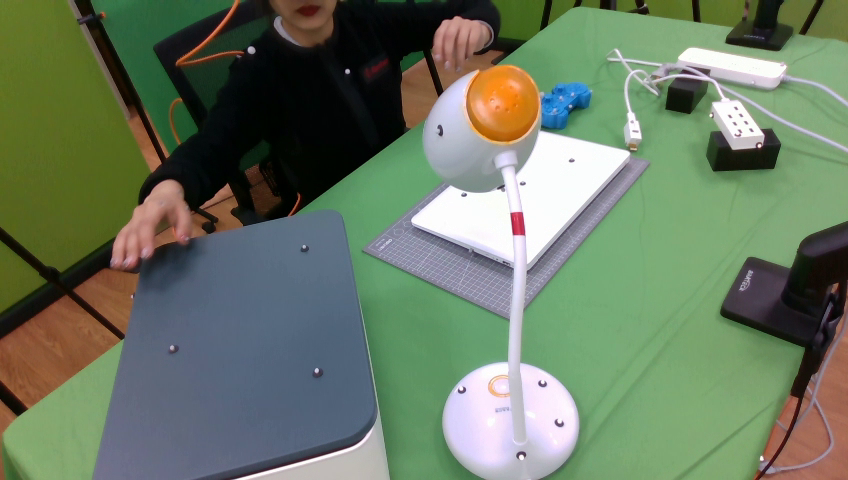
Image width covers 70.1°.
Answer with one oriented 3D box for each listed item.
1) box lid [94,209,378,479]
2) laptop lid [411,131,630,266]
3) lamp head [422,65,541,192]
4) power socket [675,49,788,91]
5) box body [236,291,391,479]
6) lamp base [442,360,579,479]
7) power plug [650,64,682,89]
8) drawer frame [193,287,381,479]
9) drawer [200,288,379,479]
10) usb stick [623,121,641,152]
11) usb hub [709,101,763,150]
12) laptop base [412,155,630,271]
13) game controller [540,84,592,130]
[{"bbox_3d":[-0.202,0.094,0.680,0.264,0.015,0.368,-13,39,-5],"label":"box lid"},{"bbox_3d":[0.172,-0.094,1.050,0.239,0.013,0.358,23,49,36],"label":"laptop lid"},{"bbox_3d":[0.060,-0.106,0.560,0.113,0.112,0.122,-16,1,-8],"label":"lamp head"},{"bbox_3d":[0.646,-0.363,1.284,0.225,0.033,0.072,26,52,35],"label":"power socket"},{"bbox_3d":[-0.190,0.161,0.723,0.255,0.161,0.361,-13,40,-5],"label":"box body"},{"bbox_3d":[0.094,0.158,0.657,0.161,0.181,0.178,-14,42,-5],"label":"lamp base"},{"bbox_3d":[0.498,-0.341,1.263,0.035,0.052,0.072,20,10,-7],"label":"power plug"},{"bbox_3d":[-0.172,0.176,0.755,0.202,0.083,0.212,-14,42,-7],"label":"drawer frame"},{"bbox_3d":[-0.172,0.176,0.760,0.195,0.073,0.210,-13,42,-8],"label":"drawer"},{"bbox_3d":[0.389,-0.192,1.129,0.021,0.027,0.059,7,62,-8],"label":"usb stick"},{"bbox_3d":[0.534,-0.199,1.040,0.049,0.025,0.124,-5,39,8],"label":"usb hub"},{"bbox_3d":[0.176,-0.084,1.056,0.233,0.023,0.355,20,48,36],"label":"laptop base"},{"bbox_3d":[0.277,-0.282,1.251,0.096,0.052,0.155,27,52,31],"label":"game controller"}]
